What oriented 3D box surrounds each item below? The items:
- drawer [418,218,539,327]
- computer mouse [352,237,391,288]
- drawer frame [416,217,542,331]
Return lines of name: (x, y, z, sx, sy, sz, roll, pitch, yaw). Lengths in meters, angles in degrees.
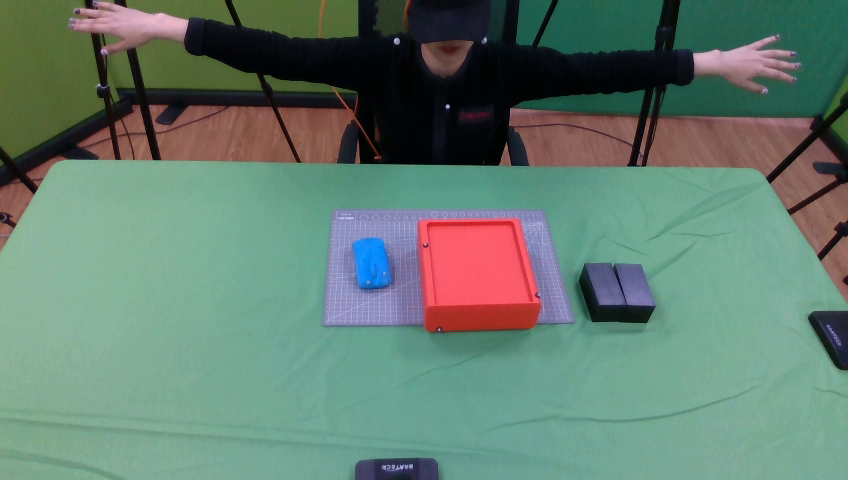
drawer: (0.092, 0.055, 1.108, 0.195, 0.073, 0.210, 0, 47, -6)
computer mouse: (-0.100, 0.039, 1.140, 0.063, 0.041, 0.116, -5, 51, -11)
drawer frame: (0.093, 0.056, 1.105, 0.202, 0.083, 0.212, -1, 47, -6)
